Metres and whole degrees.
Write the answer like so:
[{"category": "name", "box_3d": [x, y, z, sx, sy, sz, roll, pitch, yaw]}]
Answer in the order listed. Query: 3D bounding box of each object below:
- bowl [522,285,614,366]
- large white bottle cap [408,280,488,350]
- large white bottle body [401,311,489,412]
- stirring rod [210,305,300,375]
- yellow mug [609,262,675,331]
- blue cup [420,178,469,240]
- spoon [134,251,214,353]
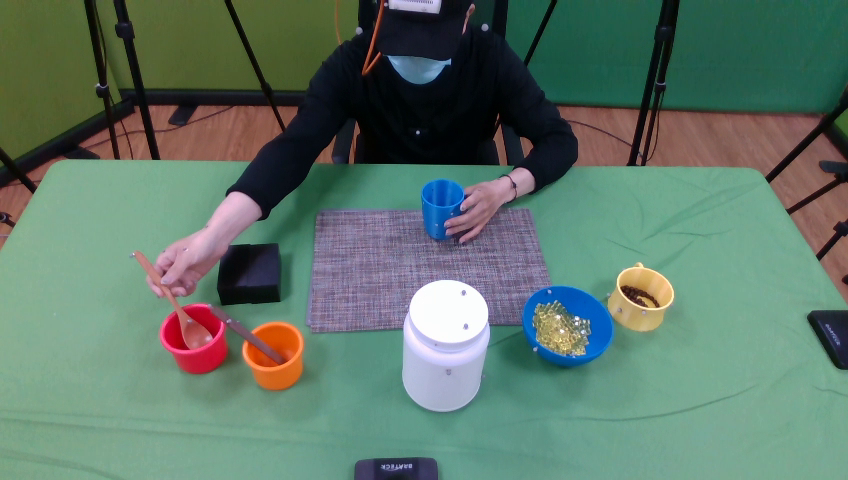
[{"category": "bowl", "box_3d": [0.235, 0.158, 1.022, 0.151, 0.077, 0.150, 2, 46, -2]}, {"category": "large white bottle cap", "box_3d": [0.034, 0.105, 0.867, 0.115, 0.018, 0.114, 2, 46, -1]}, {"category": "large white bottle body", "box_3d": [0.031, 0.163, 0.928, 0.131, 0.185, 0.130, 2, 46, -1]}, {"category": "stirring rod", "box_3d": [-0.262, 0.158, 0.946, 0.177, 0.006, 0.014, 43, 43, -21]}, {"category": "yellow mug", "box_3d": [0.393, 0.094, 1.103, 0.100, 0.064, 0.130, 7, 45, 4]}, {"category": "blue cup", "box_3d": [0.034, -0.055, 1.192, 0.093, 0.101, 0.092, 1, 46, -1]}, {"category": "spoon", "box_3d": [-0.399, 0.098, 0.965, 0.041, 0.194, 0.021, -38, 16, -35]}]
